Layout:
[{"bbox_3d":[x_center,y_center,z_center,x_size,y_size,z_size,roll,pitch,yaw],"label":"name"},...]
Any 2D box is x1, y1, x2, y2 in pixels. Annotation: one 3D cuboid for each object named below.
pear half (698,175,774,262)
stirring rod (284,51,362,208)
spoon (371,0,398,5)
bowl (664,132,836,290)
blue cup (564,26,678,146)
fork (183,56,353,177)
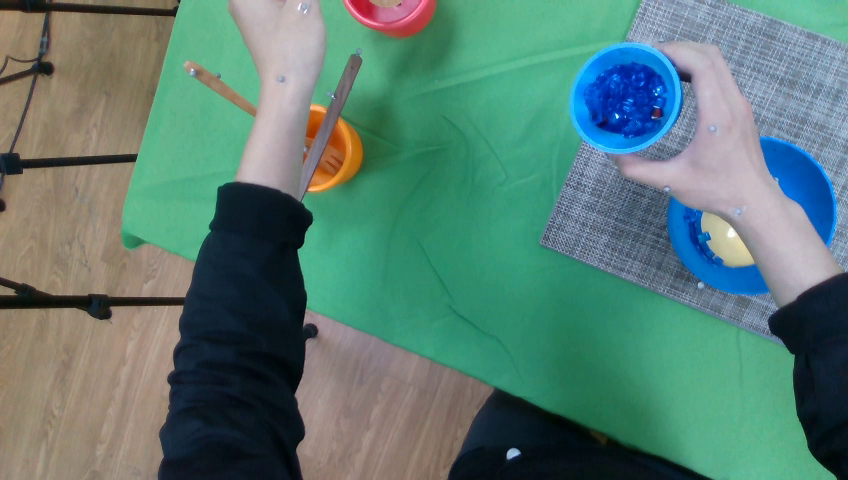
[{"bbox_3d":[0.313,-0.022,0.602,0.070,0.031,0.088,-4,91,6],"label":"pear half"},{"bbox_3d":[-0.106,-0.112,0.627,0.014,0.006,0.176,27,101,2],"label":"stirring rod"},{"bbox_3d":[-0.082,-0.247,0.513,0.021,0.195,0.042,43,113,29],"label":"spoon"},{"bbox_3d":[0.312,-0.030,0.607,0.151,0.077,0.151,1,97,9],"label":"bowl"},{"bbox_3d":[0.170,-0.118,0.517,0.092,0.100,0.092,2,94,21],"label":"blue cup"},{"bbox_3d":[-0.156,-0.125,0.634,0.028,0.018,0.209,-41,133,19],"label":"fork"}]
